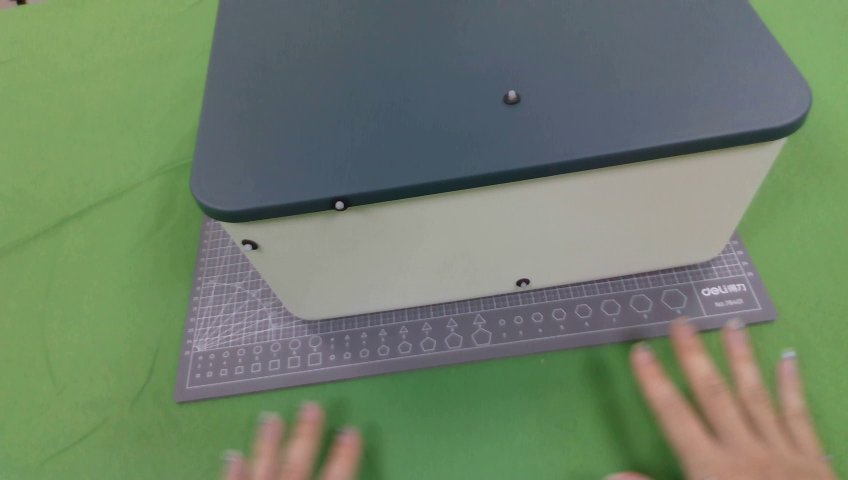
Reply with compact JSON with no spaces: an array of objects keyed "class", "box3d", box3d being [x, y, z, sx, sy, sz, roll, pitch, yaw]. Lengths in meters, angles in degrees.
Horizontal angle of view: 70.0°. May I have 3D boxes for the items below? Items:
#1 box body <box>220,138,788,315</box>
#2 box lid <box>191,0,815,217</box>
[{"class":"box body","box3d":[0.044,-0.097,0.476,0.364,0.162,0.251,-8,54,2]},{"class":"box lid","box3d":[0.032,-0.141,0.416,0.371,0.015,0.260,-8,54,2]}]
